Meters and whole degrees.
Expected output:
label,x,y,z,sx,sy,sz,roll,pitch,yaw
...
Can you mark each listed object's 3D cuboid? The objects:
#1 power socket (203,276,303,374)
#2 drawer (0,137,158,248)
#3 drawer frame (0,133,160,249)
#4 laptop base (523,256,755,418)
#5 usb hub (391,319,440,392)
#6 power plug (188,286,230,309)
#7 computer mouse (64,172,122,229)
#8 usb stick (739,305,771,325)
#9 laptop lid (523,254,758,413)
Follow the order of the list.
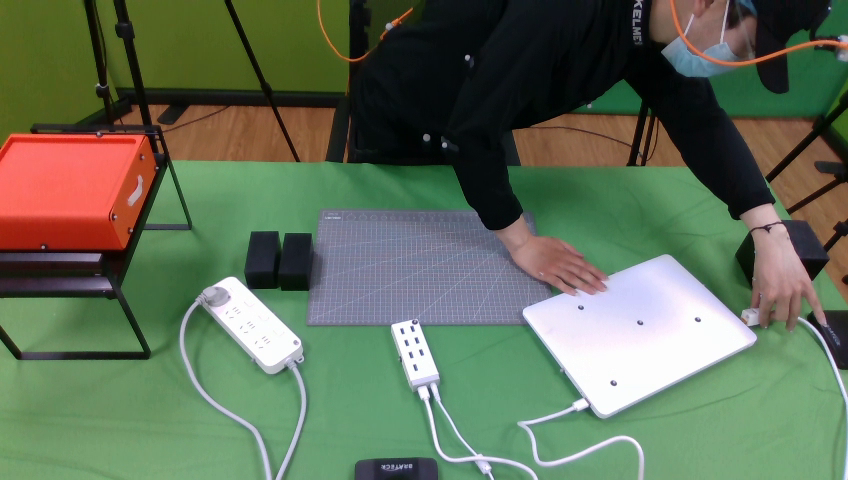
label,x,y,z,sx,sy,sz,roll,pitch,yaw
power socket,-0.296,0.141,1.034,0.225,0.033,0.072,37,55,27
drawer,-0.549,-0.078,0.943,0.212,0.073,0.193,0,47,-3
drawer frame,-0.552,-0.078,0.942,0.214,0.083,0.200,-1,47,-4
laptop base,0.381,0.159,1.082,0.355,0.023,0.234,-17,48,-21
usb hub,-0.015,0.191,1.013,0.049,0.025,0.124,-11,48,-15
power plug,-0.369,0.103,1.039,0.072,0.053,0.035,-26,54,-23
computer mouse,-0.521,-0.067,0.955,0.063,0.041,0.116,1,49,-9
usb stick,0.598,0.138,1.102,0.059,0.027,0.021,-10,33,-10
laptop lid,0.381,0.148,1.073,0.357,0.013,0.240,-17,47,-19
